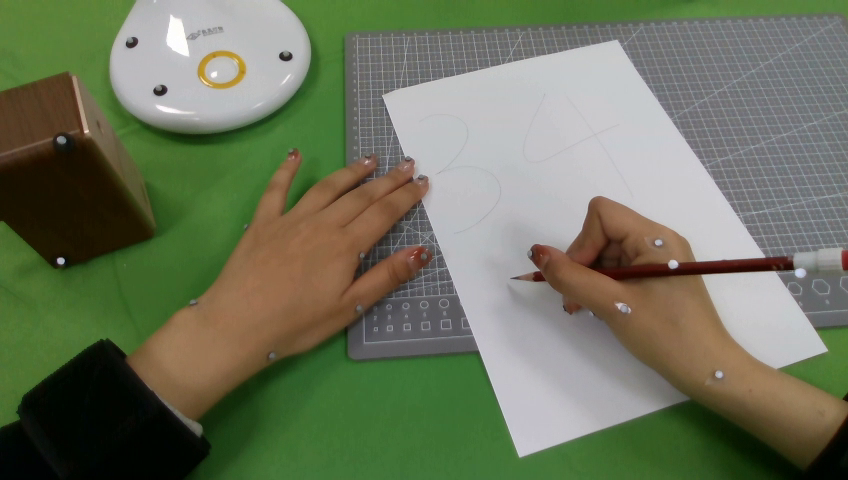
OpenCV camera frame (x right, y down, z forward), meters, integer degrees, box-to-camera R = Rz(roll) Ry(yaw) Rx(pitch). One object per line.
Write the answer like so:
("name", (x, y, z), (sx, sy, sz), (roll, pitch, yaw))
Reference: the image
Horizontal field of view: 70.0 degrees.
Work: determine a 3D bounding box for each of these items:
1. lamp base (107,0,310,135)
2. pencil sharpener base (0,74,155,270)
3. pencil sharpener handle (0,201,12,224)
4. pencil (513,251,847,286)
("lamp base", (-0.182, -0.197, 0.437), (0.160, 0.182, 0.177), (-31, 62, -18))
("pencil sharpener base", (-0.230, -0.038, 0.382), (0.077, 0.108, 0.061), (-22, 62, -13))
("pencil sharpener handle", (-0.277, -0.026, 0.360), (0.031, 0.068, 0.035), (-22, 64, -13))
("pencil", (0.127, 0.018, 0.334), (0.193, 0.012, 0.012), (-7, 47, 44))
